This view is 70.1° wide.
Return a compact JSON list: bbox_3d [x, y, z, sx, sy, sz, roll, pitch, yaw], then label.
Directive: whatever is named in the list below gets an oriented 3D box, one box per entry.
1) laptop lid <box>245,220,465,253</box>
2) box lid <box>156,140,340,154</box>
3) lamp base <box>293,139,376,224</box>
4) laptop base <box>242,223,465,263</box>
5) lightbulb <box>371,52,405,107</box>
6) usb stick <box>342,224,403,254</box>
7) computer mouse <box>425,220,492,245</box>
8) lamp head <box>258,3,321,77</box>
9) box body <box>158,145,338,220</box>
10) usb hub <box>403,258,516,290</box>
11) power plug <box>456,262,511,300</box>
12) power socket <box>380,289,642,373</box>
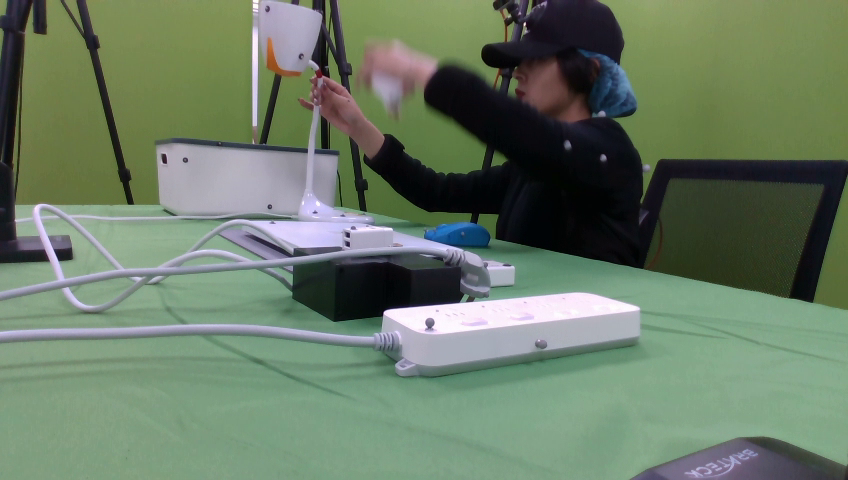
[{"bbox_3d":[-0.124,-0.009,0.945,0.243,0.013,0.355,1,7,-29],"label":"laptop lid"},{"bbox_3d":[-0.409,-0.213,1.404,0.373,0.015,0.262,-2,8,-32],"label":"box lid"},{"bbox_3d":[-0.191,-0.121,1.257,0.179,0.180,0.161,0,6,7],"label":"lamp base"},{"bbox_3d":[-0.126,0.003,0.946,0.237,0.023,0.352,2,6,-31],"label":"laptop base"},{"bbox_3d":[-0.062,-0.285,1.083,0.059,0.108,0.059,-3,49,3],"label":"lightbulb"},{"bbox_3d":[-0.047,-0.001,0.567,0.059,0.027,0.021,0,5,-32],"label":"usb stick"},{"bbox_3d":[0.060,-0.013,1.060,0.117,0.041,0.062,-2,10,-6],"label":"computer mouse"},{"bbox_3d":[-0.247,-0.361,1.106,0.112,0.123,0.112,6,15,-1],"label":"lamp head"},{"bbox_3d":[-0.410,-0.139,1.414,0.366,0.160,0.253,-3,8,-33],"label":"box body"},{"bbox_3d":[0.042,0.038,0.690,0.126,0.025,0.049,-2,10,-30],"label":"usb hub"},{"bbox_3d":[0.051,0.050,0.543,0.035,0.052,0.072,7,37,-20],"label":"power plug"},{"bbox_3d":[0.072,0.064,0.461,0.228,0.032,0.072,-2,8,-30],"label":"power socket"}]
